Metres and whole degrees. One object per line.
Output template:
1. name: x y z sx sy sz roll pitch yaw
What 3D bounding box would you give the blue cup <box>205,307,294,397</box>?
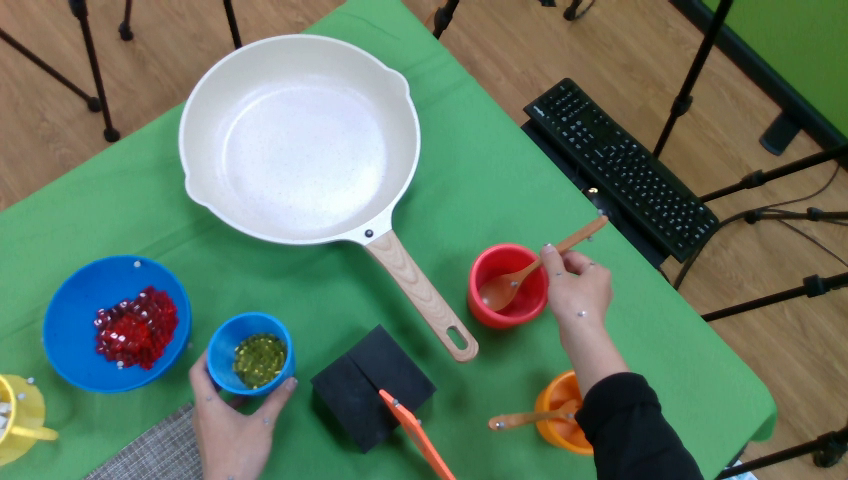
1. blue cup: -0.184 0.127 0.669 0.093 0.101 0.092 1 71 -3

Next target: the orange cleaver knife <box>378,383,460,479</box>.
1. orange cleaver knife: 0.014 0.242 0.667 0.012 0.076 0.212 -38 108 -17

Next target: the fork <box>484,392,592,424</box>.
1. fork: 0.131 0.185 0.663 0.209 0.018 0.028 12 64 -49

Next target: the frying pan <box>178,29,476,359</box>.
1. frying pan: -0.095 -0.052 0.741 0.307 0.103 0.484 -32 70 -14

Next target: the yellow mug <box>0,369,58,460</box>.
1. yellow mug: -0.455 0.186 0.640 0.131 0.064 0.099 14 70 -2

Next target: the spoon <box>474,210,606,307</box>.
1. spoon: 0.133 0.023 0.713 0.022 0.194 0.041 8 51 -46

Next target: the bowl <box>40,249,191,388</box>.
1. bowl: -0.331 0.093 0.679 0.151 0.077 0.150 2 72 -6
